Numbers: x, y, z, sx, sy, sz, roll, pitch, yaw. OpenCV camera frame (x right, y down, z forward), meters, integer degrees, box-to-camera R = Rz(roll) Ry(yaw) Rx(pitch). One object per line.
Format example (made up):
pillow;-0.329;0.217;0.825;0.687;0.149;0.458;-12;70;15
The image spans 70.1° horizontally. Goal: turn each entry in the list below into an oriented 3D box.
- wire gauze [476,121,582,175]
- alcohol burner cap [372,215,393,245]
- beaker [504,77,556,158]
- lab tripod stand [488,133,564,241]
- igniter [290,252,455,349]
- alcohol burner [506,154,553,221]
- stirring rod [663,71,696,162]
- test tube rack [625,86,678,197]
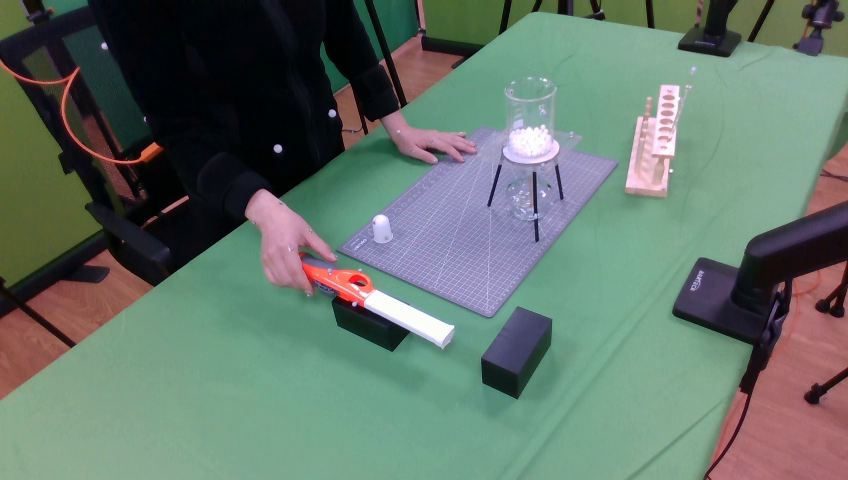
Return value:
wire gauze;0.162;-0.142;0.929;0.120;0.011;0.125;19;49;32
alcohol burner cap;-0.070;-0.019;0.990;0.034;0.048;0.033;-4;41;4
beaker;0.160;-0.181;0.900;0.084;0.101;0.073;-32;46;-27
lab tripod stand;0.168;-0.092;0.972;0.148;0.132;0.147;-5;41;5
igniter;-0.080;0.076;0.822;0.274;0.025;0.057;23;47;27
alcohol burner;0.171;-0.090;0.984;0.078;0.119;0.077;-5;42;5
stirring rod;0.410;-0.195;0.981;0.014;0.177;0.006;12;50;14
test tube rack;0.412;-0.184;1.088;0.066;0.085;0.242;9;43;18
